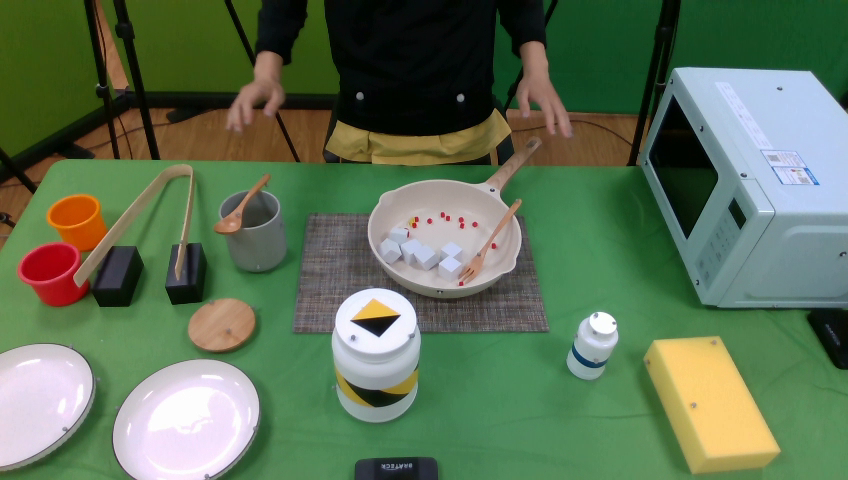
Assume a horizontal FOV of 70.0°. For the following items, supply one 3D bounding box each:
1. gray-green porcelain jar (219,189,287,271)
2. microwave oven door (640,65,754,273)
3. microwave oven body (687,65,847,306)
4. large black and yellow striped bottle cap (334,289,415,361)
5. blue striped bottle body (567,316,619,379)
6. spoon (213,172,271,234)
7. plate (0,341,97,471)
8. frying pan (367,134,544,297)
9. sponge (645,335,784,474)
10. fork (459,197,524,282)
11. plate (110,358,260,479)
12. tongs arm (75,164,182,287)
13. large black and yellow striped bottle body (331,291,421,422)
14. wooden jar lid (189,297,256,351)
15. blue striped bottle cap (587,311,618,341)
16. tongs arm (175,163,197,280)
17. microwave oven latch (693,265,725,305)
[{"bbox_3d":[-0.310,-0.014,1.113,0.106,0.127,0.105,2,46,-2],"label":"gray-green porcelain jar"},{"bbox_3d":[0.523,-0.147,1.193,0.039,0.245,0.353,0,47,-3],"label":"microwave oven door"},{"bbox_3d":[0.669,-0.111,1.176,0.326,0.261,0.439,0,46,-3],"label":"microwave oven body"},{"bbox_3d":[-0.069,0.117,0.850,0.115,0.019,0.114,2,45,-2],"label":"large black and yellow striped bottle cap"},{"bbox_3d":[0.276,0.168,0.984,0.063,0.121,0.062,2,46,-2],"label":"blue striped bottle body"},{"bbox_3d":[-0.313,-0.069,1.069,0.041,0.022,0.193,9,43,11],"label":"spoon"},{"bbox_3d":[-0.599,0.247,0.904,0.209,0.038,0.208,2,47,-2],"label":"plate"},{"bbox_3d":[0.104,-0.069,1.205,0.305,0.103,0.487,32,61,23],"label":"frying pan"},{"bbox_3d":[0.449,0.253,0.956,0.118,0.061,0.205,-4,46,-7],"label":"sponge"},{"bbox_3d":[0.132,-0.004,1.158,0.028,0.019,0.207,28,75,30],"label":"fork"},{"bbox_3d":[-0.349,0.273,0.899,0.208,0.039,0.206,2,46,-2],"label":"plate"},{"bbox_3d":[-0.548,-0.043,1.143,0.028,0.028,0.385,-3,35,7],"label":"tongs arm"},{"bbox_3d":[-0.071,0.175,0.911,0.131,0.185,0.130,2,47,-2],"label":"large black and yellow striped bottle body"},{"bbox_3d":[-0.342,0.145,1.033,0.108,0.021,0.107,3,45,-2],"label":"wooden jar lid"},{"bbox_3d":[0.279,0.134,0.946,0.044,0.021,0.044,2,45,-2],"label":"blue striped bottle cap"},{"bbox_3d":[-0.462,-0.049,1.149,0.051,0.026,0.382,-9,36,-7],"label":"tongs arm"},{"bbox_3d":[0.523,0.082,1.116,0.030,0.029,0.078,2,46,-1],"label":"microwave oven latch"}]
